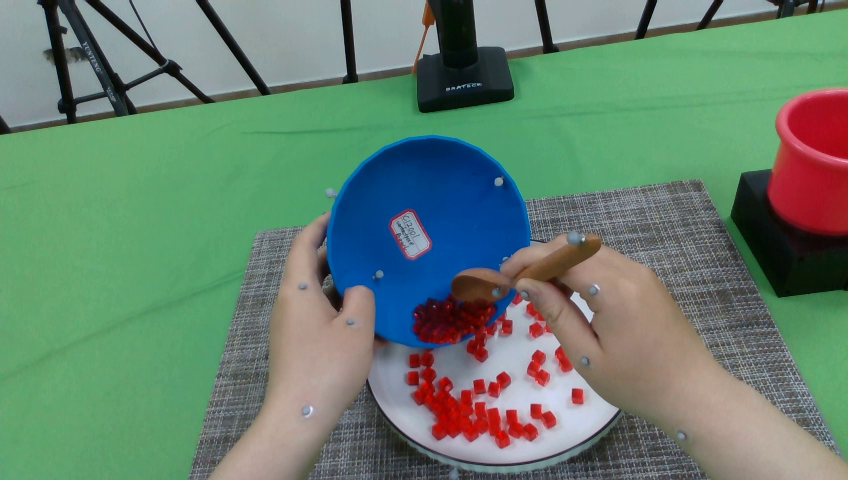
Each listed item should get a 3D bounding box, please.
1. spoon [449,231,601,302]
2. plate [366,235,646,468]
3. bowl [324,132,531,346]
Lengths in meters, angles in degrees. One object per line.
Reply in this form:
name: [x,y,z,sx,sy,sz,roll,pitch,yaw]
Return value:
spoon: [0.056,0.021,0.366,0.042,0.193,0.021,21,77,-10]
plate: [0.060,0.079,0.467,0.207,0.039,0.205,-6,45,6]
bowl: [-0.004,-0.002,0.456,0.151,0.152,0.076,-25,11,-14]
